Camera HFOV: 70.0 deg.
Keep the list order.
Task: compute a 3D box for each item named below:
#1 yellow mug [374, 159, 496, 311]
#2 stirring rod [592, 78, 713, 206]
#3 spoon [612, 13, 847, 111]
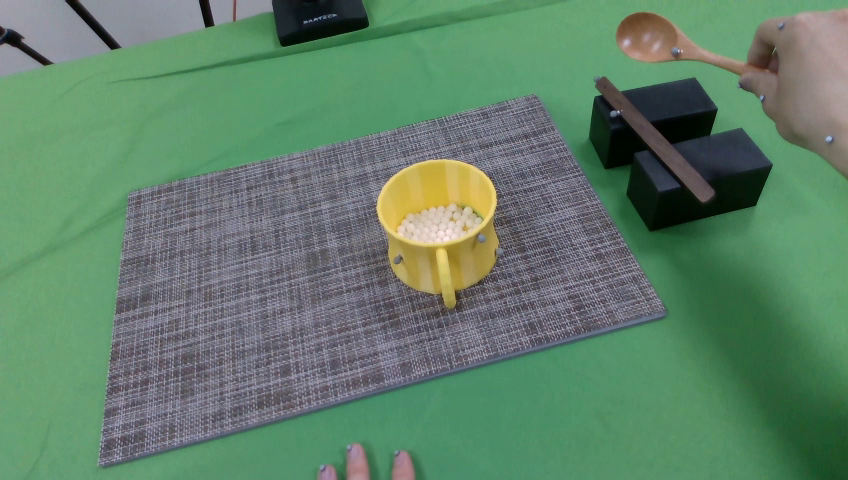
[{"bbox_3d":[0.013,-0.001,0.510,0.100,0.064,0.129,-8,51,2],"label":"yellow mug"},{"bbox_3d":[0.196,-0.092,0.535,0.014,0.006,0.174,-41,49,19],"label":"stirring rod"},{"bbox_3d":[0.238,-0.141,0.488,0.192,0.022,0.042,35,106,34],"label":"spoon"}]
